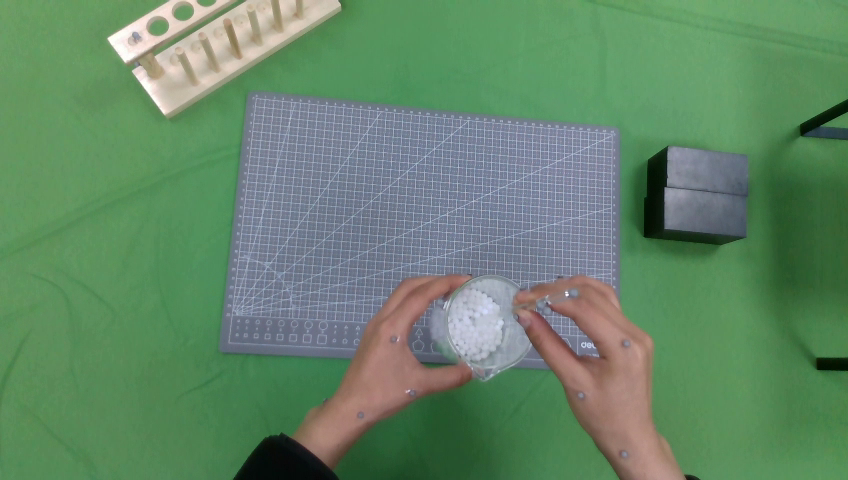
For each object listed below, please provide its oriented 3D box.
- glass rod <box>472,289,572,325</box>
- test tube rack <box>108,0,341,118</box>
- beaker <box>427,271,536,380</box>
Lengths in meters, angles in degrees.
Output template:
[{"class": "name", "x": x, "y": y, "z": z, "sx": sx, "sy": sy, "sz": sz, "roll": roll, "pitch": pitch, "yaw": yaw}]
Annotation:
[{"class": "glass rod", "x": 0.066, "y": 0.054, "z": 0.458, "sx": 0.008, "sy": 0.200, "sz": 0.008, "roll": 3, "pitch": 77, "yaw": -12}, {"class": "test tube rack", "x": -0.210, "y": -0.242, "z": 0.674, "sx": 0.242, "sy": 0.085, "sz": 0.066, "roll": -37, "pitch": 85, "yaw": -11}, {"class": "beaker", "x": 0.043, "y": 0.074, "z": 0.511, "sx": 0.074, "sy": 0.100, "sz": 0.083, "roll": 8, "pitch": 79, "yaw": -7}]
